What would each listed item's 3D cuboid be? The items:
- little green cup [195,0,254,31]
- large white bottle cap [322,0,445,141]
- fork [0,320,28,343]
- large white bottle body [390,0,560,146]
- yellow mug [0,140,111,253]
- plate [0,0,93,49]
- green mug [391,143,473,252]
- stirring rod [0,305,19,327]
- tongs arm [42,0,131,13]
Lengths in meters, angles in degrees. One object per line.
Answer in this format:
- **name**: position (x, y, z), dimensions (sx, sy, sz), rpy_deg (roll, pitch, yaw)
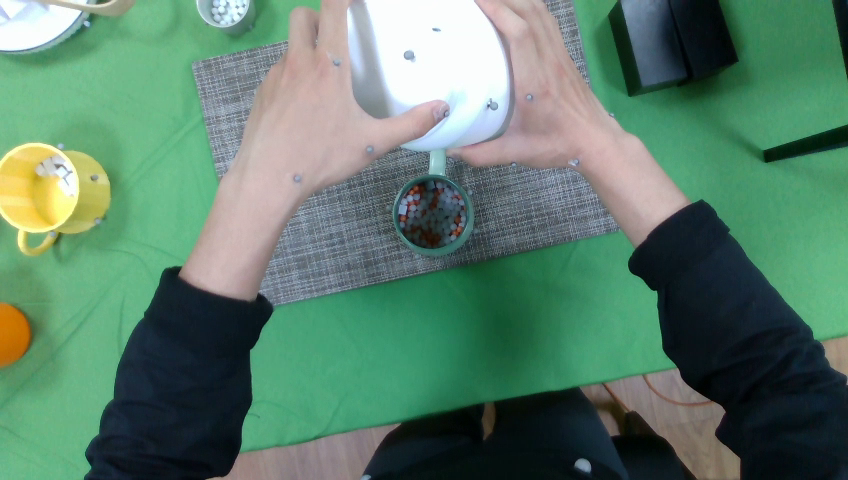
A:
- **little green cup**: position (-0.227, -0.273, 0.700), dimensions (0.061, 0.038, 0.061), rpy_deg (0, 92, 2)
- **large white bottle cap**: position (-0.033, -0.132, 0.449), dimensions (0.114, 0.018, 0.115), rpy_deg (14, 113, 38)
- **fork**: position (-0.560, 0.103, 0.665), dimensions (0.209, 0.018, 0.028), rpy_deg (5, 87, -41)
- **large white bottle body**: position (0.022, -0.149, 0.518), dimensions (0.129, 0.185, 0.131), rpy_deg (10, 107, 35)
- **yellow mug**: position (-0.433, -0.046, 0.699), dimensions (0.100, 0.064, 0.131), rpy_deg (20, 93, 1)
- **plate**: position (-0.474, -0.325, 0.707), dimensions (0.207, 0.039, 0.207), rpy_deg (0, 92, 2)
- **green mug**: position (0.009, -0.049, 0.661), dimensions (0.092, 0.105, 0.125), rpy_deg (4, 91, 3)
- **stirring rod**: position (-0.531, 0.134, 0.670), dimensions (0.014, 0.006, 0.175), rpy_deg (38, 50, 1)
- **tongs arm**: position (-0.514, -0.310, 0.678), dimensions (0.384, 0.026, 0.050), rpy_deg (16, 88, 3)
